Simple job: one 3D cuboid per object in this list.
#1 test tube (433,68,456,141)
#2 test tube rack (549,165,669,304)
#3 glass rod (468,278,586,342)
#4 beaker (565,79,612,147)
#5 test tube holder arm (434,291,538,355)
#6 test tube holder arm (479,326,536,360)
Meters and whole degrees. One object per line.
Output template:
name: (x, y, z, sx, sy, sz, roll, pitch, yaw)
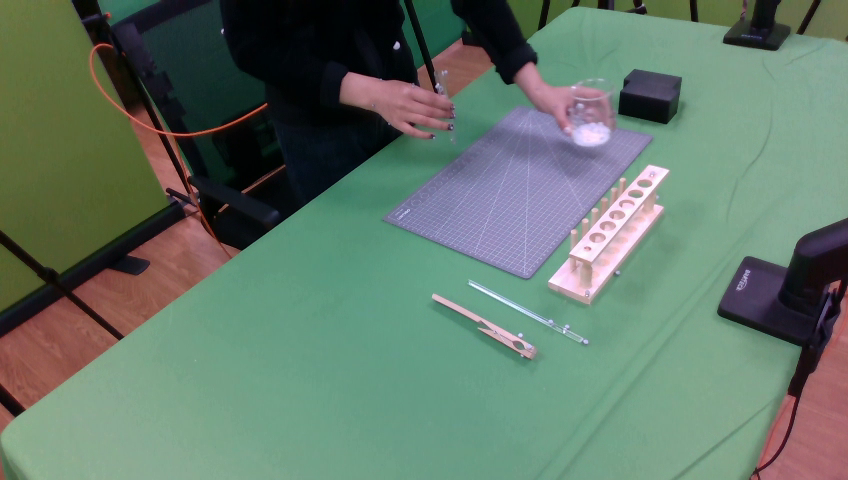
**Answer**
test tube: (0.037, -0.232, 1.051, 0.017, 0.151, 0.017, -7, 50, 9)
test tube rack: (0.279, -0.018, 0.902, 0.066, 0.085, 0.243, 24, 50, 33)
glass rod: (0.140, 0.096, 0.853, 0.198, 0.008, 0.008, 27, 52, 35)
beaker: (0.285, -0.221, 1.059, 0.074, 0.101, 0.083, -35, 44, -25)
test tube holder arm: (0.081, 0.112, 0.832, 0.177, 0.015, 0.013, 29, 83, 36)
test tube holder arm: (0.110, 0.134, 0.805, 0.087, 0.015, 0.010, 29, 84, 36)
